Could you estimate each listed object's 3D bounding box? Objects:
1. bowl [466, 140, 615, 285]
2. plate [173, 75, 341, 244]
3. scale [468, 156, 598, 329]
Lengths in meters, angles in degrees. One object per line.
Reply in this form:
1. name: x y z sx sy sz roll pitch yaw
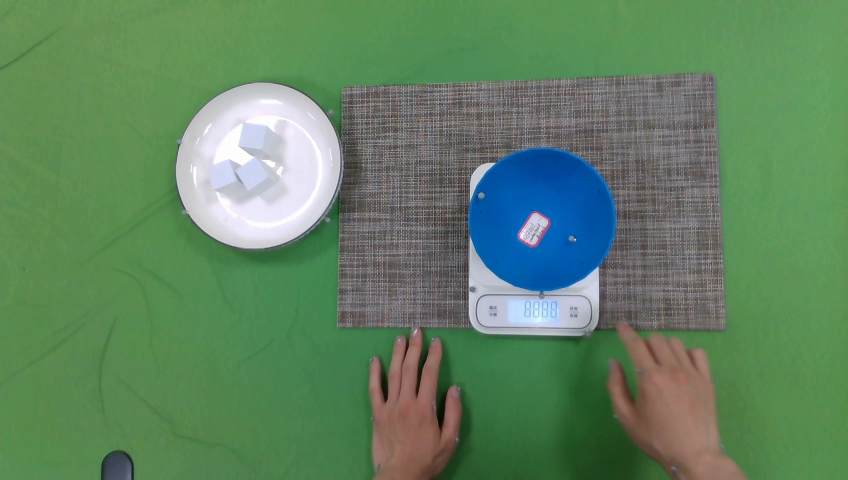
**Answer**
1. bowl: 0.121 -0.024 0.652 0.151 0.077 0.151 0 85 5
2. plate: -0.202 -0.096 0.746 0.207 0.039 0.207 -1 84 6
3. scale: 0.126 0.001 0.702 0.148 0.031 0.200 0 85 6
